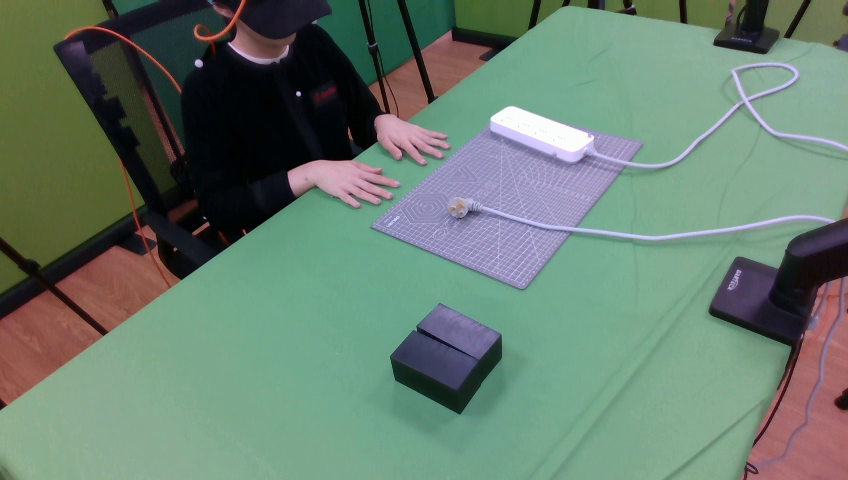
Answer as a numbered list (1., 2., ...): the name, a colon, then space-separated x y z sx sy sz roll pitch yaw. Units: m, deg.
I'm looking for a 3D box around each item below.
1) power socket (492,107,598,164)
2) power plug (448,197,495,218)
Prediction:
1. power socket: 0.227 -0.205 1.170 0.072 0.033 0.225 -36 48 -28
2. power plug: 0.076 -0.055 1.010 0.072 0.035 0.053 0 23 27
